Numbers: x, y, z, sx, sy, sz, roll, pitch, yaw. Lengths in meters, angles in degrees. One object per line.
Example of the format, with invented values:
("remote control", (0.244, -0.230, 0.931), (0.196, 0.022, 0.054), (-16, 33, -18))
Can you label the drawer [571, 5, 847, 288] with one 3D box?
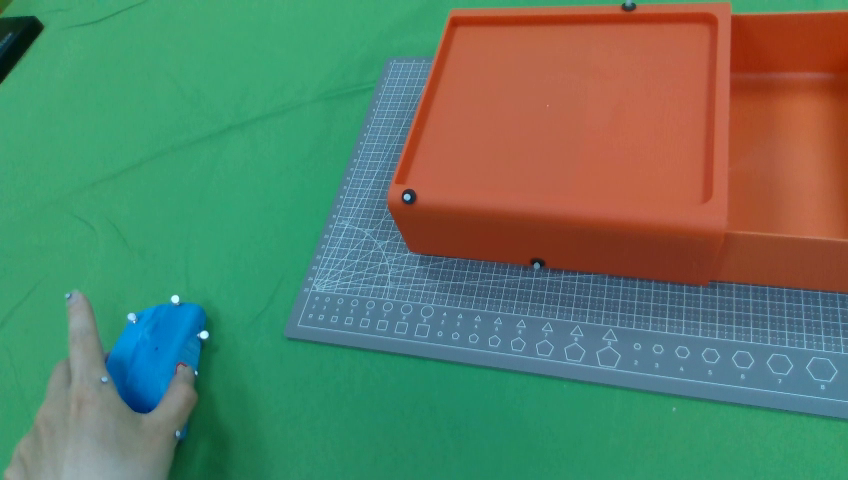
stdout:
("drawer", (0.214, -0.072, 0.412), (0.211, 0.074, 0.193), (5, 61, 18))

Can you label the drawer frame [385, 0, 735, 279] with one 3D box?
("drawer frame", (0.105, -0.083, 0.445), (0.213, 0.083, 0.200), (5, 61, 19))

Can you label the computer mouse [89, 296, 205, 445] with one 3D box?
("computer mouse", (-0.205, 0.092, 0.450), (0.062, 0.041, 0.116), (-8, 54, 11))
